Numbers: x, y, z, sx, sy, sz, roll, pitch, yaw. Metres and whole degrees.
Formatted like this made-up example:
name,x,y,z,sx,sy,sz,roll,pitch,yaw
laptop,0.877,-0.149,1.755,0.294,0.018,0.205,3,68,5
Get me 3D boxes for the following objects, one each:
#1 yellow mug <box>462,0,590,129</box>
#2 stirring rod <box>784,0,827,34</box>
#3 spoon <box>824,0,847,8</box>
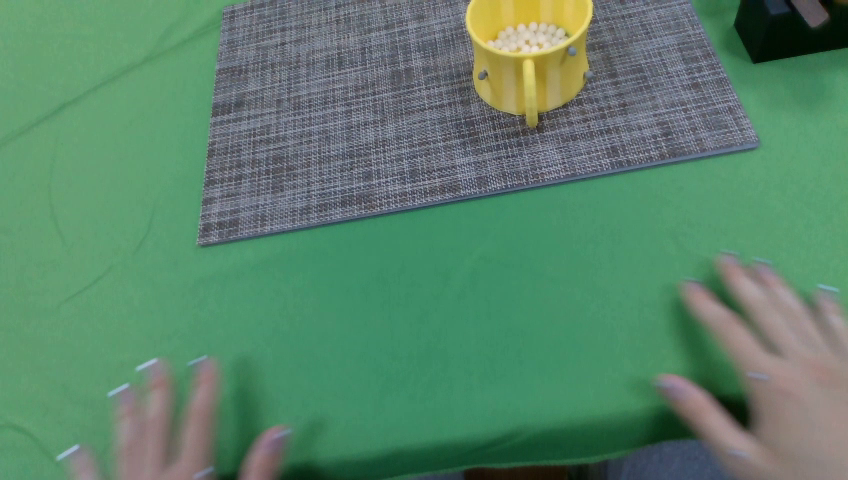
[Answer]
name,x,y,z,sx,sy,sz,roll,pitch,yaw
yellow mug,0.084,-0.150,0.498,0.100,0.064,0.129,-3,60,10
stirring rod,0.274,-0.227,0.486,0.014,0.006,0.174,-32,54,31
spoon,0.313,-0.243,0.483,0.041,0.022,0.192,-8,57,11
